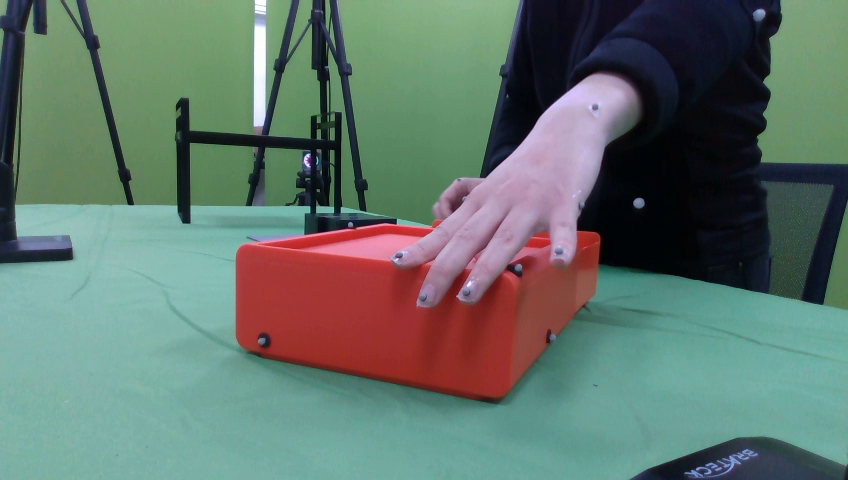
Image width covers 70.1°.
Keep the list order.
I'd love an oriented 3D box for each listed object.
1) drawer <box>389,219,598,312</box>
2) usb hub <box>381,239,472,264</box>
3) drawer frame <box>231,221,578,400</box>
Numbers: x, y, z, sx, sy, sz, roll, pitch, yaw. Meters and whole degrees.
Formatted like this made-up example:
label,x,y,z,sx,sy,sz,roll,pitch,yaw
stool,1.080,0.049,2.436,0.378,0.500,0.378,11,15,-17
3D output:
label,x,y,z,sx,sy,sz,roll,pitch,yaw
drawer,0.049,0.027,0.582,0.194,0.073,0.212,7,9,25
usb hub,0.005,0.015,0.852,0.126,0.025,0.049,-3,9,-36
drawer frame,0.001,0.037,0.474,0.201,0.082,0.214,6,9,22
